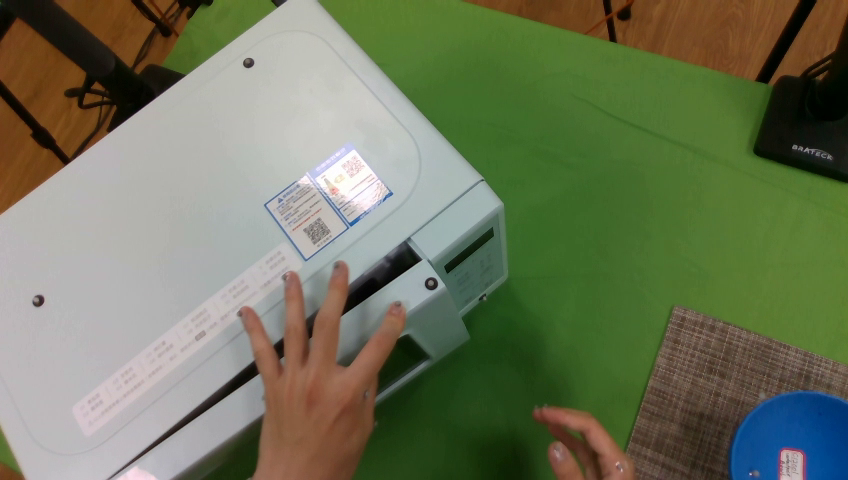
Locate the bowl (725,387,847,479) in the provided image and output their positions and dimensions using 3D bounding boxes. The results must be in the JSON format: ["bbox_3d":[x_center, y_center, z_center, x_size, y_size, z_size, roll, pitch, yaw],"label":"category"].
[{"bbox_3d":[0.363,0.222,0.588,0.151,0.077,0.150,-3,71,8],"label":"bowl"}]

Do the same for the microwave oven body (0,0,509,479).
[{"bbox_3d":[-0.181,0.023,0.638,0.441,0.262,0.323,-39,71,-4],"label":"microwave oven body"}]

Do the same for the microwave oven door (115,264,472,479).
[{"bbox_3d":[-0.118,0.161,0.578,0.356,0.245,0.039,-35,69,-3],"label":"microwave oven door"}]

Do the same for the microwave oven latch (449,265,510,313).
[{"bbox_3d":[0.062,0.048,0.695,0.079,0.030,0.030,-37,71,-4],"label":"microwave oven latch"}]
